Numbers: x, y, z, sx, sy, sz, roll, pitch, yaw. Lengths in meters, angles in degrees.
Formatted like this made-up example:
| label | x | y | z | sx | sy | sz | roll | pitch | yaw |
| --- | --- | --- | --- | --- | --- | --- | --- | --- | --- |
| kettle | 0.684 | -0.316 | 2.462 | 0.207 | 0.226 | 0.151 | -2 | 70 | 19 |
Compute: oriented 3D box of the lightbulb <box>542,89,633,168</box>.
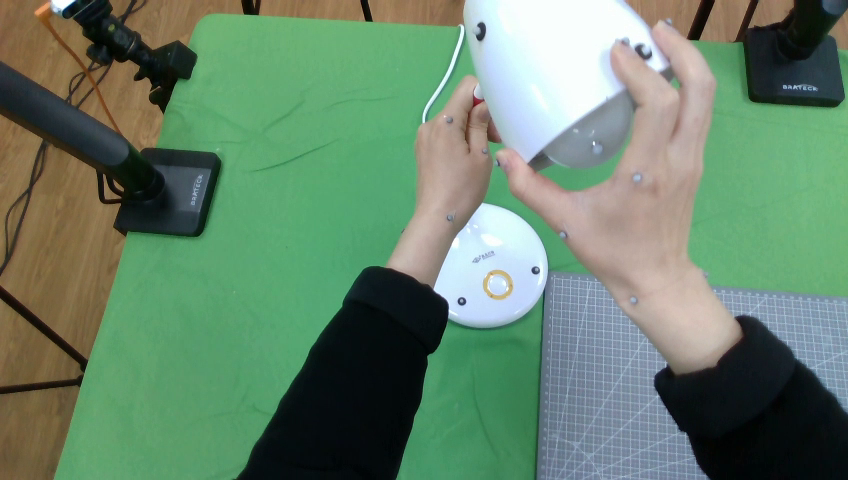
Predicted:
| label | x | y | z | sx | sy | sz | roll | pitch | yaw |
| --- | --- | --- | --- | --- | --- | --- | --- | --- | --- |
| lightbulb | 0.087 | -0.096 | 0.375 | 0.059 | 0.059 | 0.107 | -24 | 82 | -6 |

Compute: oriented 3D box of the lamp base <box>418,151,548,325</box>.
| label | x | y | z | sx | sy | sz | roll | pitch | yaw |
| --- | --- | --- | --- | --- | --- | --- | --- | --- | --- |
| lamp base | 0.061 | -0.010 | 0.681 | 0.160 | 0.181 | 0.178 | -34 | 68 | -10 |

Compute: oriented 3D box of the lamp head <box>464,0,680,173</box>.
| label | x | y | z | sx | sy | sz | roll | pitch | yaw |
| --- | --- | --- | --- | --- | --- | --- | --- | --- | --- |
| lamp head | 0.078 | -0.118 | 0.384 | 0.112 | 0.113 | 0.122 | -31 | 78 | -9 |
